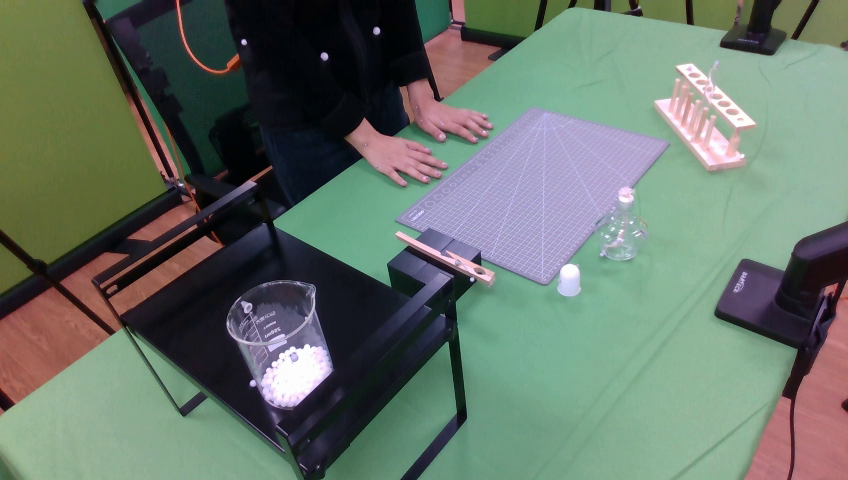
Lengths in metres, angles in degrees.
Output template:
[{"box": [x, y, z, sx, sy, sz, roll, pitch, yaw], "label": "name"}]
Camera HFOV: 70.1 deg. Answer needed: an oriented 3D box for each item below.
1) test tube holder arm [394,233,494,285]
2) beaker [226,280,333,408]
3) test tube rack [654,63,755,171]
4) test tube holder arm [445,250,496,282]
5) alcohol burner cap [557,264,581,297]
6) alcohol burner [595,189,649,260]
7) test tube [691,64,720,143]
[{"box": [0.024, 0.025, 0.872, 0.177, 0.015, 0.013, 23, 57, 31], "label": "test tube holder arm"}, {"box": [-0.123, 0.096, 0.546, 0.073, 0.101, 0.084, 27, 51, 33], "label": "beaker"}, {"box": [0.510, -0.233, 1.120, 0.067, 0.085, 0.241, -8, 41, -1], "label": "test tube rack"}, {"box": [0.063, 0.036, 0.851, 0.087, 0.015, 0.010, 24, 58, 32], "label": "test tube holder arm"}, {"box": [0.208, 0.055, 0.866, 0.034, 0.048, 0.033, -4, 42, 4], "label": "alcohol burner cap"}, {"box": [0.294, -0.028, 0.894, 0.078, 0.119, 0.077, -4, 43, 4], "label": "alcohol burner"}, {"box": [0.492, -0.236, 1.056, 0.017, 0.151, 0.017, -3, 42, 3], "label": "test tube"}]
